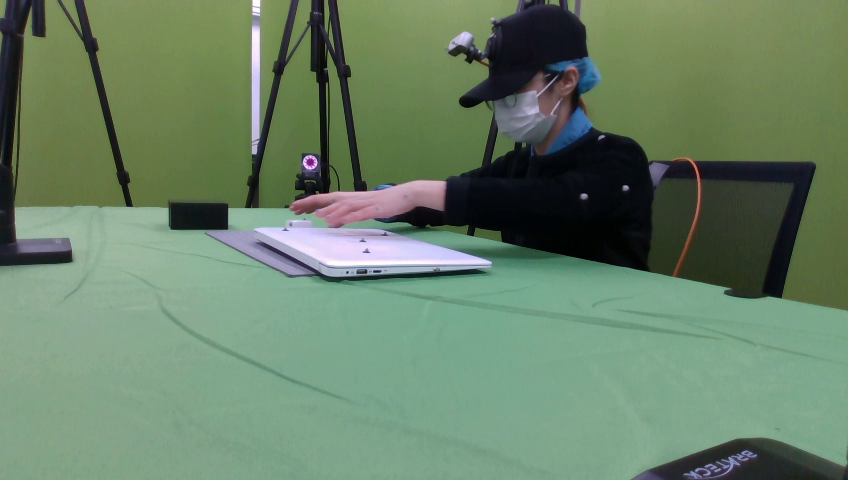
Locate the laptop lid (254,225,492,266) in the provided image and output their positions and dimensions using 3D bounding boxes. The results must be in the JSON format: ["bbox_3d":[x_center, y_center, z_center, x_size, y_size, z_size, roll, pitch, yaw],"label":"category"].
[{"bbox_3d":[-0.092,0.004,0.888,0.243,0.013,0.355,1,8,-28],"label":"laptop lid"}]

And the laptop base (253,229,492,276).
[{"bbox_3d":[-0.094,0.015,0.889,0.237,0.023,0.352,2,7,-30],"label":"laptop base"}]

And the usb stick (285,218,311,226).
[{"bbox_3d":[-0.235,-0.025,1.102,0.021,0.027,0.059,6,12,37],"label":"usb stick"}]
